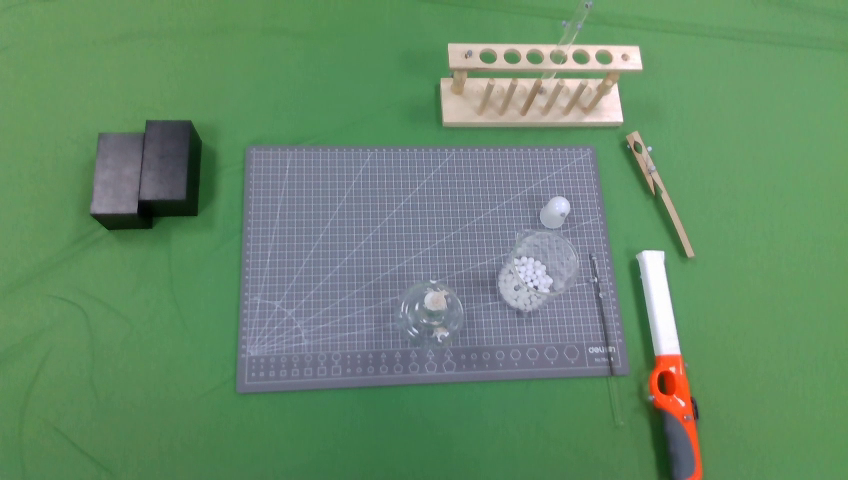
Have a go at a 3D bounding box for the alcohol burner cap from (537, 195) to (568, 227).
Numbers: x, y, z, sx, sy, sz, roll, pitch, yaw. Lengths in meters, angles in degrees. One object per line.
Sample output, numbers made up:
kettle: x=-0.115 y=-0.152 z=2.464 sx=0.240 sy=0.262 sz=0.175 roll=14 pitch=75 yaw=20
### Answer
alcohol burner cap: x=0.162 y=-0.038 z=0.749 sx=0.034 sy=0.048 sz=0.033 roll=2 pitch=72 yaw=-5

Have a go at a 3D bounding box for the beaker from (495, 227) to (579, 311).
beaker: x=0.122 y=0.035 z=0.691 sx=0.074 sy=0.101 sz=0.083 roll=-33 pitch=77 yaw=-16

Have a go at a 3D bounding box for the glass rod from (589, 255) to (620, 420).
glass rod: x=0.214 y=0.113 z=0.724 sx=0.008 sy=0.008 sz=0.198 roll=-2 pitch=72 yaw=-7

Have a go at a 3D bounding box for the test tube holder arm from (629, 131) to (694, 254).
test tube holder arm: x=0.307 y=-0.063 z=0.787 sx=0.013 sy=0.015 sz=0.177 roll=-28 pitch=75 yaw=21

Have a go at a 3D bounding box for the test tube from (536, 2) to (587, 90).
test tube: x=0.164 y=-0.232 z=0.740 sx=0.017 sy=0.151 sz=0.017 roll=3 pitch=68 yaw=-7

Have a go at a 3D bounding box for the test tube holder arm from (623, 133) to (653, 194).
test tube holder arm: x=0.286 y=-0.101 z=0.800 sx=0.010 sy=0.015 sz=0.087 roll=-27 pitch=75 yaw=21

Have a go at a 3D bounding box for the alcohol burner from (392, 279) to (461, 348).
alcohol burner: x=0.005 y=0.075 z=0.658 sx=0.078 sy=0.119 sz=0.077 roll=2 pitch=69 yaw=-5

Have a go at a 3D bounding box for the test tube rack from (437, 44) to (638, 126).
test tube rack: x=0.144 y=-0.197 z=0.779 sx=0.243 sy=0.085 sz=0.066 roll=-1 pitch=72 yaw=-7

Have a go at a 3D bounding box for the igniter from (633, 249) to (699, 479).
igniter: x=0.284 y=0.144 z=0.715 sx=0.057 sy=0.025 sz=0.274 roll=2 pitch=72 yaw=-16
